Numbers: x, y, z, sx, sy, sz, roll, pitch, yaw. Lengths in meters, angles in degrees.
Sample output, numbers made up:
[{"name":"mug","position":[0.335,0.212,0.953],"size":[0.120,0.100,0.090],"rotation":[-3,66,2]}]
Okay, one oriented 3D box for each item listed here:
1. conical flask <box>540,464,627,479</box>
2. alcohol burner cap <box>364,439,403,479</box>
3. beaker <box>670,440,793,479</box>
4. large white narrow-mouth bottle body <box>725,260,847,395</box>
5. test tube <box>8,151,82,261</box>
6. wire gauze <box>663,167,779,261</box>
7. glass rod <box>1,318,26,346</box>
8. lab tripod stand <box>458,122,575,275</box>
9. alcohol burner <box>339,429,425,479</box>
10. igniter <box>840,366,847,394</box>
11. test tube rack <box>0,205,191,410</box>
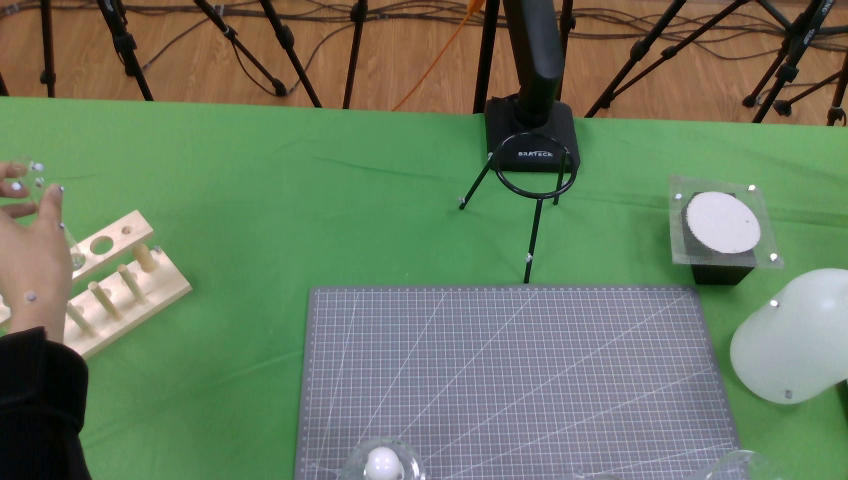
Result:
[{"name":"conical flask","position":[0.141,0.226,0.528],"size":[0.075,0.123,0.074],"rotation":[2,59,-2]},{"name":"alcohol burner cap","position":[-0.035,0.184,0.504],"size":[0.034,0.048,0.033],"rotation":[-1,59,2]},{"name":"beaker","position":[0.269,0.230,0.548],"size":[0.084,0.101,0.073],"rotation":[5,58,0]},{"name":"large white narrow-mouth bottle body","position":[0.385,0.078,0.594],"size":[0.102,0.196,0.101],"rotation":[2,59,-2]},{"name":"test tube","position":[-0.334,-0.025,0.540],"size":[0.017,0.151,0.017],"rotation":[6,55,-8]},{"name":"wire gauze","position":[0.342,-0.030,0.707],"size":[0.121,0.011,0.124],"rotation":[7,59,0]},{"name":"glass rod","position":[-0.399,0.045,0.545],"size":[0.008,0.201,0.008],"rotation":[4,50,-5]},{"name":"lab tripod stand","position":[0.113,-0.054,0.689],"size":[0.148,0.132,0.147],"rotation":[3,60,-4]},{"name":"alcohol burner","position":[-0.037,0.202,0.535],"size":[0.078,0.120,0.077],"rotation":[3,58,-4]},{"name":"igniter","position":[0.464,0.223,0.612],"size":[0.057,0.025,0.274],"rotation":[10,59,-10]},{"name":"test tube rack","position":[-0.369,0.073,0.607],"size":[0.242,0.086,0.066],"rotation":[-37,68,-23]}]
